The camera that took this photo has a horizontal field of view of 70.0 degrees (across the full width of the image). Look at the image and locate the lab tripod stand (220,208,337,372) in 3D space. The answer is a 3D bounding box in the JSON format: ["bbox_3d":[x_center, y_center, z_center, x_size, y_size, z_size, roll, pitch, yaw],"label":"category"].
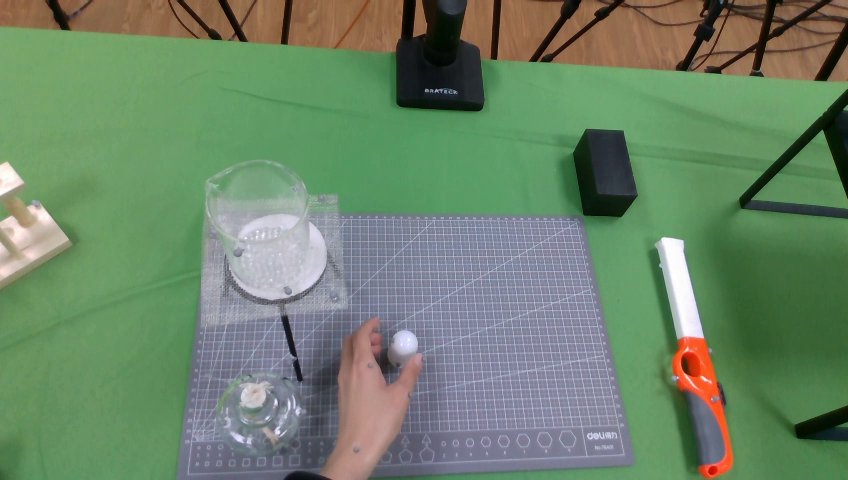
[{"bbox_3d":[-0.140,0.043,0.597,0.149,0.132,0.147,4,62,-7],"label":"lab tripod stand"}]

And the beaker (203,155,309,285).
[{"bbox_3d":[-0.135,-0.012,0.497,0.084,0.101,0.073,23,62,4],"label":"beaker"}]

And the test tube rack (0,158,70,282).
[{"bbox_3d":[-0.492,0.027,0.588,0.242,0.086,0.066,-39,73,-24],"label":"test tube rack"}]

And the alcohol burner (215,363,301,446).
[{"bbox_3d":[-0.152,0.145,0.553,0.078,0.120,0.077,4,60,-7],"label":"alcohol burner"}]

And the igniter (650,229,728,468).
[{"bbox_3d":[0.296,0.112,0.683,0.057,0.025,0.274,7,61,-15],"label":"igniter"}]

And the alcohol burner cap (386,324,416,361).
[{"bbox_3d":[-0.023,0.105,0.633,0.034,0.048,0.033,2,65,-4],"label":"alcohol burner cap"}]

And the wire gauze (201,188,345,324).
[{"bbox_3d":[-0.136,0.009,0.542,0.122,0.011,0.124,-5,67,-9],"label":"wire gauze"}]
